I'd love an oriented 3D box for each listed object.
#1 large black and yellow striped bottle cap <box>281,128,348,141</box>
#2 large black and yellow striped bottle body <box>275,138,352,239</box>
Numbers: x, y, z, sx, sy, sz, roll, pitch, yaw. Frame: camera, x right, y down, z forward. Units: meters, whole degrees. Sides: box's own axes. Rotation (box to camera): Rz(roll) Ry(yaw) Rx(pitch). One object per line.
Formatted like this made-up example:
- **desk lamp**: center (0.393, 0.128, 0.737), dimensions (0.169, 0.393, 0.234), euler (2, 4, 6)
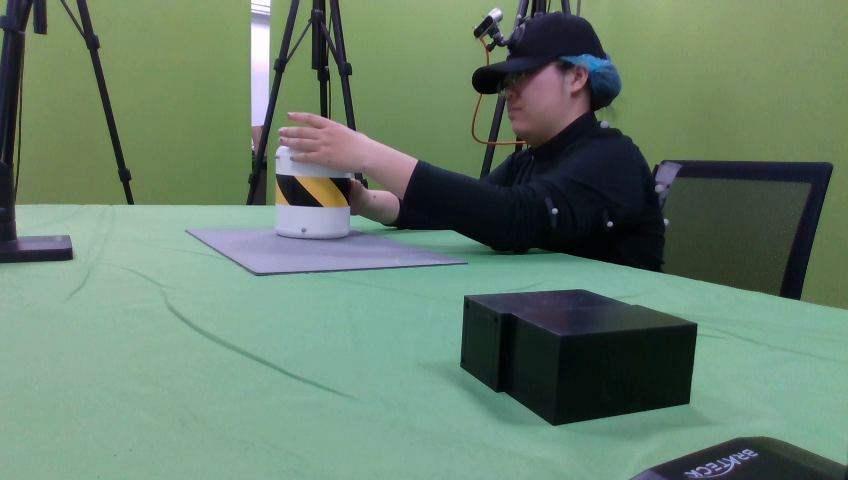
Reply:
- **large black and yellow striped bottle cap**: center (-0.189, -0.182, 1.047), dimensions (0.115, 0.019, 0.115), euler (2, 6, 0)
- **large black and yellow striped bottle body**: center (-0.193, -0.099, 1.060), dimensions (0.131, 0.184, 0.130), euler (3, 8, 0)
